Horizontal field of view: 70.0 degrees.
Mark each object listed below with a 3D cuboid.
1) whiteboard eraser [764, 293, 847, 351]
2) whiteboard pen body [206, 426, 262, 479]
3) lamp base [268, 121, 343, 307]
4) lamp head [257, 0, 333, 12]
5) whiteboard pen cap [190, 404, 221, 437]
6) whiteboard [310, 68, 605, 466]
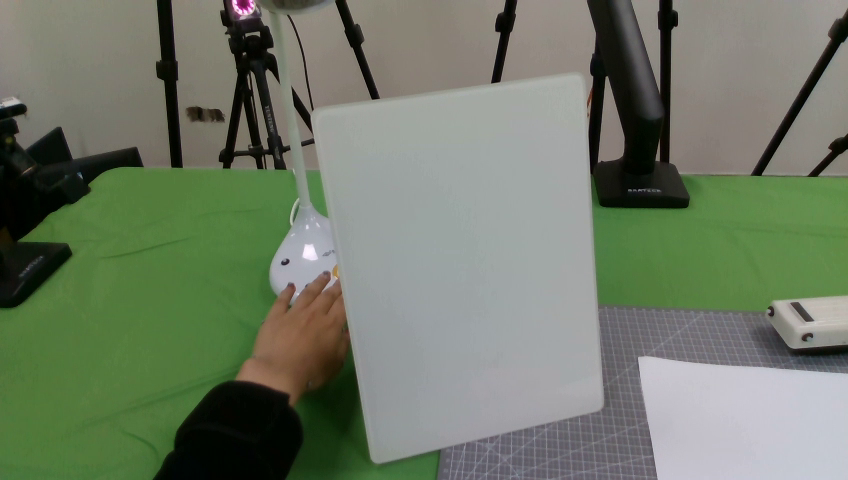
[{"bbox_3d":[0.409,0.082,0.606,0.113,0.042,0.055,-3,35,0],"label":"whiteboard eraser"},{"bbox_3d":[-0.158,0.191,0.514,0.017,0.017,0.139,-29,45,-33],"label":"whiteboard pen body"},{"bbox_3d":[-0.122,-0.039,0.709,0.161,0.182,0.177,-28,39,-31],"label":"lamp base"},{"bbox_3d":[-0.120,-0.270,0.507,0.112,0.113,0.122,-20,63,-23],"label":"lamp head"},{"bbox_3d":[-0.197,0.165,0.549,0.018,0.018,0.033,-29,48,-33],"label":"whiteboard pen cap"},{"bbox_3d":[0.029,0.013,0.560,0.217,0.307,0.143,-10,16,-9],"label":"whiteboard"}]
